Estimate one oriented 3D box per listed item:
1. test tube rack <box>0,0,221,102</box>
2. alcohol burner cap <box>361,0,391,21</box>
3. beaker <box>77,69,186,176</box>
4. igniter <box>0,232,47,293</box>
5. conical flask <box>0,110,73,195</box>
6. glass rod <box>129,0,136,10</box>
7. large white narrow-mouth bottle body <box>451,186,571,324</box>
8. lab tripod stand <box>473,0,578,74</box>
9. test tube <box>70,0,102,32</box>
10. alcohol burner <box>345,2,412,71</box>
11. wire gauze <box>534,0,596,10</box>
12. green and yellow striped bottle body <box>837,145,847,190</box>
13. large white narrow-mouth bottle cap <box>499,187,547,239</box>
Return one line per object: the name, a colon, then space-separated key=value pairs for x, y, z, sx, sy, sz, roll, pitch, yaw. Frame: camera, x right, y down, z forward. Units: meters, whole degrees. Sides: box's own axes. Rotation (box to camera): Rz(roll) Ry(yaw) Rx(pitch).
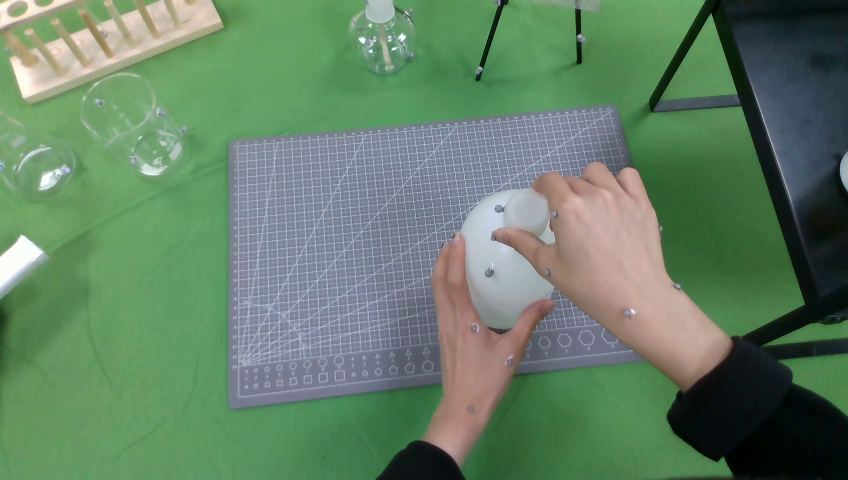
test tube rack: x=-0.372 y=-0.255 z=0.699 sx=0.242 sy=0.086 sz=0.066 roll=-26 pitch=71 yaw=-10
alcohol burner cap: x=-0.053 y=-0.264 z=0.653 sx=0.034 sy=0.048 sz=0.033 roll=0 pitch=68 yaw=-1
beaker: x=-0.303 y=-0.116 z=0.640 sx=0.074 sy=0.101 sz=0.083 roll=8 pitch=69 yaw=3
igniter: x=-0.464 y=0.100 z=0.544 sx=0.057 sy=0.025 sz=0.276 roll=36 pitch=70 yaw=10
conical flask: x=-0.428 y=-0.103 z=0.621 sx=0.075 sy=0.122 sz=0.075 roll=0 pitch=69 yaw=0
glass rod: x=-0.353 y=-0.315 z=0.651 sx=0.008 sy=0.201 sz=0.008 roll=-3 pitch=63 yaw=6
large white narrow-mouth bottle body: x=0.078 y=0.008 z=0.543 sx=0.102 sy=0.196 sz=0.101 roll=0 pitch=70 yaw=0
lab tripod stand: x=0.118 y=-0.266 z=0.683 sx=0.148 sy=0.132 sz=0.147 roll=1 pitch=68 yaw=-1
test tube: x=-0.395 y=-0.283 z=0.656 sx=0.017 sy=0.151 sz=0.017 roll=-1 pitch=66 yaw=3
alcohol burner: x=-0.052 y=-0.250 z=0.686 sx=0.078 sy=0.120 sz=0.077 roll=1 pitch=67 yaw=-1
wire gauze: x=0.125 y=-0.293 z=0.622 sx=0.121 sy=0.011 sz=0.124 roll=15 pitch=70 yaw=3
green and yellow striped bottle body: x=0.360 y=-0.074 z=0.428 sx=0.063 sy=0.120 sz=0.062 roll=0 pitch=68 yaw=0
large white narrow-mouth bottle cap: x=0.076 y=-0.020 z=0.462 sx=0.038 sy=0.024 sz=0.037 roll=0 pitch=71 yaw=0
